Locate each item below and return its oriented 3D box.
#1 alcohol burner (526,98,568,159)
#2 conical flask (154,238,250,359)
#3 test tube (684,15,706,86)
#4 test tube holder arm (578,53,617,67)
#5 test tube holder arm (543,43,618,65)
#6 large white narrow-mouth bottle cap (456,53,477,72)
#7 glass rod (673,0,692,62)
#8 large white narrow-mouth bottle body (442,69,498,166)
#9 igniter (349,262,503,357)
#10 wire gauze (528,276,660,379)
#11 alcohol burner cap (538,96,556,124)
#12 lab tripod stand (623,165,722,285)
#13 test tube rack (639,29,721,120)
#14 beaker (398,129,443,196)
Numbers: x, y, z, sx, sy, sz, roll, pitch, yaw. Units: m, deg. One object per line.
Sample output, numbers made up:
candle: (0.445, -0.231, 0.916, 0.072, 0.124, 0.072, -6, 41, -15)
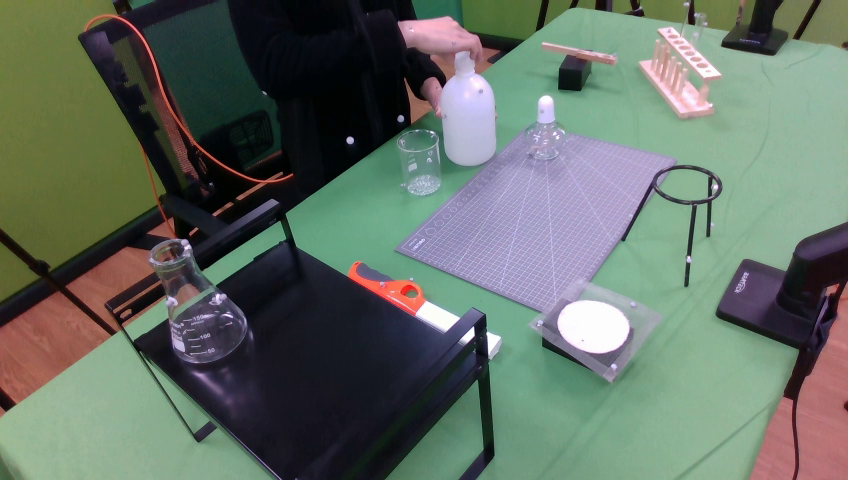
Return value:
alcohol burner: (0.228, -0.210, 1.118, 0.078, 0.119, 0.077, -5, 43, 5)
conical flask: (-0.225, 0.055, 0.597, 0.075, 0.122, 0.075, -5, 41, 4)
test tube: (0.541, -0.378, 1.215, 0.017, 0.151, 0.017, -2, 44, 3)
test tube holder arm: (0.376, -0.393, 1.314, 0.087, 0.015, 0.010, 26, 51, 32)
test tube holder arm: (0.344, -0.413, 1.340, 0.177, 0.015, 0.013, 25, 51, 31)
large white narrow-mouth bottle cap: (0.075, -0.312, 1.060, 0.038, 0.024, 0.037, -4, 40, 4)
glass rod: (0.537, -0.437, 1.257, 0.008, 0.200, 0.008, 0, 39, 1)
large white narrow-mouth bottle body: (0.084, -0.242, 1.121, 0.102, 0.195, 0.101, -4, 41, 4)
igniter: (-0.008, 0.093, 0.870, 0.274, 0.025, 0.057, 24, 60, 33)
wire gauze: (0.213, 0.103, 0.763, 0.124, 0.011, 0.122, 30, 52, 35)
alcohol burner cap: (0.222, -0.237, 1.095, 0.034, 0.048, 0.033, -7, 35, 5)
lab tripod stand: (0.365, -0.030, 0.874, 0.148, 0.132, 0.147, -6, 41, 6)
test tube rack: (0.527, -0.351, 1.262, 0.067, 0.085, 0.241, -8, 40, 1)
beaker: (-0.002, -0.139, 1.087, 0.073, 0.101, 0.084, 28, 52, 35)
